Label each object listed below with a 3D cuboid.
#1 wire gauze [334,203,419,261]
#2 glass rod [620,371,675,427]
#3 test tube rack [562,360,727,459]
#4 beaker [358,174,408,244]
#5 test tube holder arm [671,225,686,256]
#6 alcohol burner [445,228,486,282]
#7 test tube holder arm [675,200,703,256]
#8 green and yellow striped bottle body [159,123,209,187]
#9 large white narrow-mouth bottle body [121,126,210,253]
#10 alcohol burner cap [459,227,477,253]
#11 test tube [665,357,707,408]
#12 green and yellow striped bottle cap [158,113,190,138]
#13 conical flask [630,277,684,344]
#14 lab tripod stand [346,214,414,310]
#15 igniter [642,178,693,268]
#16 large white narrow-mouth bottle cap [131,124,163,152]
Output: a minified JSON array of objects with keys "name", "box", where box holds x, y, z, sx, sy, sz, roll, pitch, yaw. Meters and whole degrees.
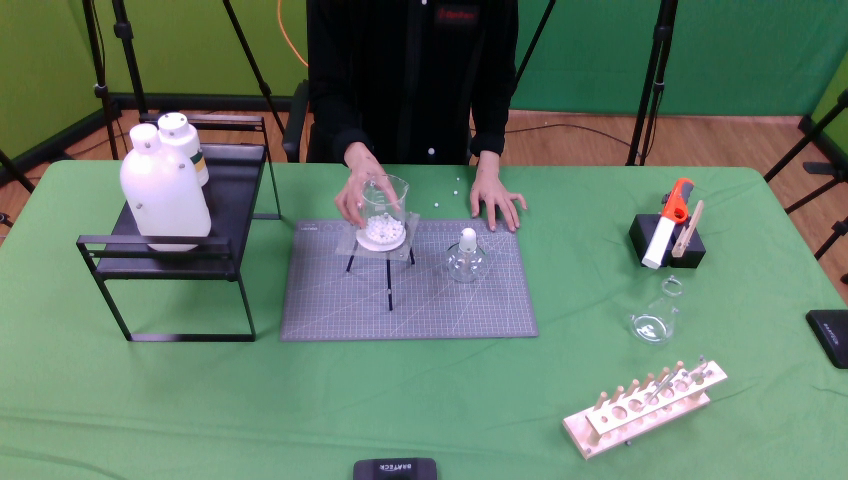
[{"name":"wire gauze","box":[-0.079,-0.013,1.031,0.121,0.011,0.124,8,48,6]},{"name":"glass rod","box":[0.315,0.230,0.863,0.008,0.200,0.008,3,54,-3]},{"name":"test tube rack","box":[0.341,0.247,0.940,0.243,0.085,0.066,-16,49,-18]},{"name":"beaker","box":[-0.066,-0.049,0.999,0.084,0.101,0.073,-18,51,-20]},{"name":"test tube holder arm","box":[0.494,0.001,1.167,0.010,0.015,0.087,1,36,42]},{"name":"alcohol burner","box":[0.077,0.021,1.115,0.078,0.120,0.077,1,48,-1]},{"name":"test tube holder arm","box":[0.523,-0.025,1.190,0.013,0.015,0.178,1,36,41]},{"name":"green and yellow striped bottle body","box":[-0.395,-0.145,0.989,0.063,0.120,0.063,2,46,-2]},{"name":"large white narrow-mouth bottle body","box":[-0.378,-0.077,0.875,0.102,0.195,0.101,3,46,-3]},{"name":"alcohol burner cap","box":[0.079,-0.002,1.088,0.034,0.048,0.033,-1,54,2]},{"name":"test tube","box":[0.387,0.215,0.905,0.017,0.151,0.017,1,52,-1]},{"name":"green and yellow striped bottle cap","box":[-0.393,-0.180,0.951,0.045,0.020,0.045,2,44,-2]},{"name":"conical flask","box":[0.408,0.117,1.045,0.075,0.122,0.075,2,46,-2]},{"name":"lab tripod stand","box":[-0.075,0.030,1.082,0.148,0.132,0.147,1,47,-1]},{"name":"igniter","box":[0.488,-0.042,1.205,0.057,0.025,0.276,30,51,11]},{"name":"large white narrow-mouth bottle cap","box":[-0.371,-0.137,0.813,0.038,0.024,0.037,3,46,-3]}]
